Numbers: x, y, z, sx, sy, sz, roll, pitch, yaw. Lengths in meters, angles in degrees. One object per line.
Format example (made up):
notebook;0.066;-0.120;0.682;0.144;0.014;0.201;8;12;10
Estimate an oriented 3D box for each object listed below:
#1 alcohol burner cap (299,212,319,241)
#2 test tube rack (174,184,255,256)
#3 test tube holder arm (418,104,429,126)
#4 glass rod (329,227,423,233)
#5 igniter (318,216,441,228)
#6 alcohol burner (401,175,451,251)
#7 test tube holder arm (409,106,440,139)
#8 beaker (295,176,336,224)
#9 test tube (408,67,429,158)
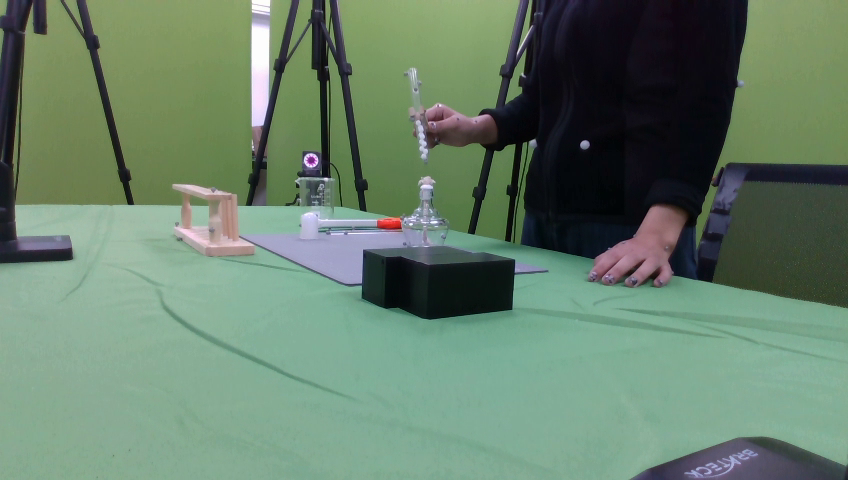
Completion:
alcohol burner cap;-0.195;-0.024;1.025;0.034;0.048;0.034;3;7;0
test tube rack;-0.327;-0.036;0.928;0.067;0.085;0.241;-2;9;-32
test tube holder arm;0.000;-0.199;0.970;0.010;0.015;0.088;-8;-5;4
glass rod;-0.087;-0.019;1.148;0.201;0.008;0.008;-3;8;-32
igniter;-0.090;-0.036;1.222;0.278;0.025;0.057;-2;-2;-32
alcohol burner;0.003;-0.042;0.947;0.078;0.119;0.078;1;9;0
test tube holder arm;0.002;-0.196;1.015;0.013;0.015;0.179;-8;-5;12
beaker;-0.224;-0.080;1.247;0.084;0.100;0.073;-1;8;-18
test tube;-0.008;-0.201;0.948;0.017;0.150;0.017;-8;-10;-1
